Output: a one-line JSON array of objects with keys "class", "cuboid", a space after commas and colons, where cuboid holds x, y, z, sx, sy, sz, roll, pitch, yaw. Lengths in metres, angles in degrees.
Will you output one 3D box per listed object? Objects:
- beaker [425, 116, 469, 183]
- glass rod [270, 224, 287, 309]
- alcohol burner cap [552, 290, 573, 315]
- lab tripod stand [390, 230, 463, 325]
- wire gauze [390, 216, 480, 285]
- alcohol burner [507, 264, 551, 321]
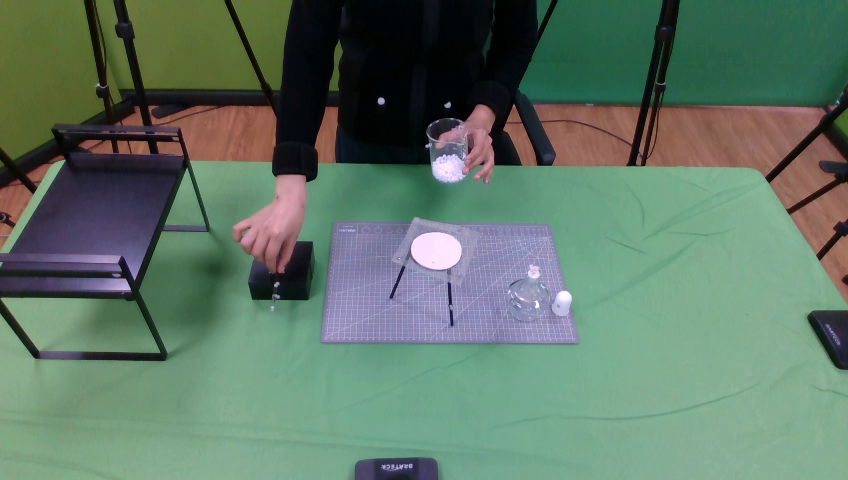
[{"class": "beaker", "cuboid": [0.046, -0.160, 1.094, 0.074, 0.101, 0.083, -31, 51, -21]}, {"class": "glass rod", "cuboid": [-0.257, 0.042, 1.076, 0.008, 0.008, 0.198, 0, 47, -3]}, {"class": "alcohol burner cap", "cuboid": [0.251, 0.109, 1.088, 0.034, 0.048, 0.033, 3, 47, -2]}, {"class": "lab tripod stand", "cuboid": [0.014, 0.060, 1.056, 0.148, 0.132, 0.147, 1, 48, -1]}, {"class": "wire gauze", "cuboid": [0.020, 0.012, 1.009, 0.125, 0.011, 0.121, 16, 48, 12]}, {"class": "alcohol burner", "cuboid": [0.185, 0.086, 1.056, 0.078, 0.120, 0.077, 1, 47, -1]}]
